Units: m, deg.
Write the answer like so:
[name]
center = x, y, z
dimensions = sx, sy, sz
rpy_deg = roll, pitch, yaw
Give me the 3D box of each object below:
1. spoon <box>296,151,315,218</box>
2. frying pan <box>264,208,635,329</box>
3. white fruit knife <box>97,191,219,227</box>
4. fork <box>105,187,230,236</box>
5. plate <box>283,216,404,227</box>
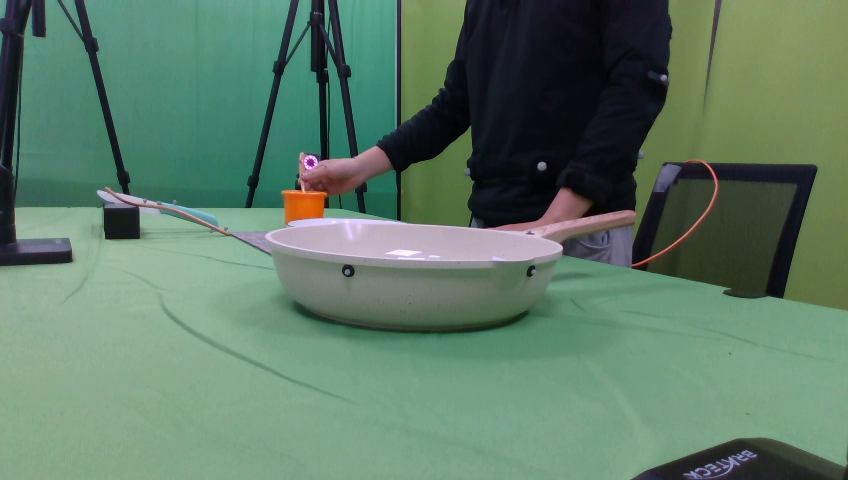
[spoon]
center = -0.252, -0.112, 1.258
dimensions = 0.042, 0.193, 0.021
rpy_deg = 12, -43, -32
[frying pan]
center = 0.075, 0.007, 0.666
dimensions = 0.490, 0.102, 0.305
rpy_deg = -12, 15, -33
[white fruit knife]
center = -0.468, -0.056, 1.079
dimensions = 0.208, 0.027, 0.016
rpy_deg = 15, -2, -29
[fork]
center = -0.428, -0.047, 1.020
dimensions = 0.208, 0.018, 0.028
rpy_deg = 19, -8, -26
[plate]
center = -0.119, -0.009, 0.968
dimensions = 0.208, 0.039, 0.207
rpy_deg = 3, 7, 0
